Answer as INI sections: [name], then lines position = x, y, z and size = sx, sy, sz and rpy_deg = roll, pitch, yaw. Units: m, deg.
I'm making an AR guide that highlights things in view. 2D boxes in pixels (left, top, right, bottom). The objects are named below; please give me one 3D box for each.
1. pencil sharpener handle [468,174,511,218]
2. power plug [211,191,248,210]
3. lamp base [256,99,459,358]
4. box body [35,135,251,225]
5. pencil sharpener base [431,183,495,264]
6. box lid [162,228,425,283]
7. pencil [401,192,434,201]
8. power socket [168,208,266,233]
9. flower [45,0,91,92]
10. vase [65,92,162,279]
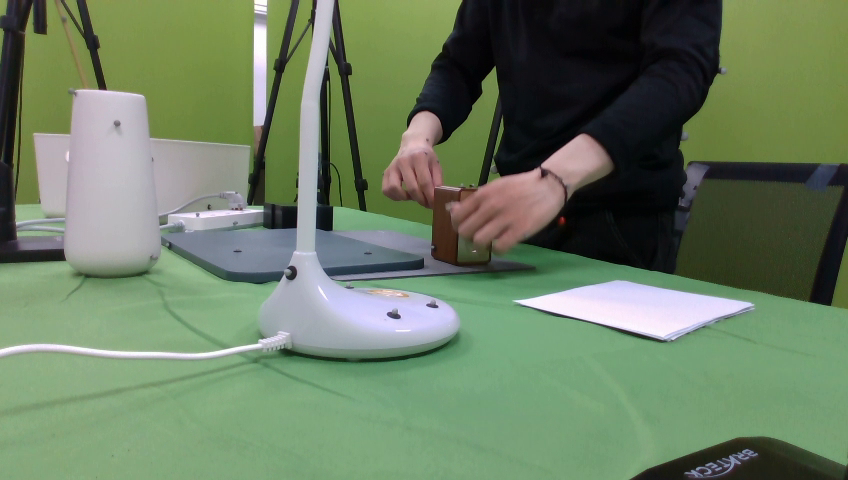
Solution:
[pencil sharpener handle]
position = 0.088, -0.058, 0.796
size = 0.036, 0.068, 0.030
rpy_deg = 36, -10, -28
[power plug]
position = -0.384, -0.071, 1.205
size = 0.072, 0.052, 0.035
rpy_deg = 1, 8, 28
[lamp base]
position = -0.055, -0.013, 0.463
size = 0.160, 0.180, 0.180
rpy_deg = 6, 11, 27
[box body]
position = -0.559, -0.127, 1.257
size = 0.253, 0.160, 0.365
rpy_deg = 4, 8, 15
[pencil sharpener base]
position = 0.055, -0.024, 0.842
size = 0.061, 0.107, 0.076
rpy_deg = -2, 9, -29
[box lid]
position = -0.200, 0.014, 0.861
size = 0.265, 0.015, 0.369
rpy_deg = -4, 9, -35
[pencil]
position = 0.008, -0.065, 0.935
size = 0.012, 0.012, 0.193
rpy_deg = -2, 7, -27
[power socket]
position = -0.379, -0.038, 1.129
size = 0.072, 0.032, 0.227
rpy_deg = 4, 8, 18
[flower]
position = -0.361, -0.142, 0.663
size = 0.044, 0.361, 0.038
rpy_deg = -12, 11, 30
[vase]
position = -0.347, -0.060, 0.673
size = 0.098, 0.200, 0.098
rpy_deg = 1, 7, 0
